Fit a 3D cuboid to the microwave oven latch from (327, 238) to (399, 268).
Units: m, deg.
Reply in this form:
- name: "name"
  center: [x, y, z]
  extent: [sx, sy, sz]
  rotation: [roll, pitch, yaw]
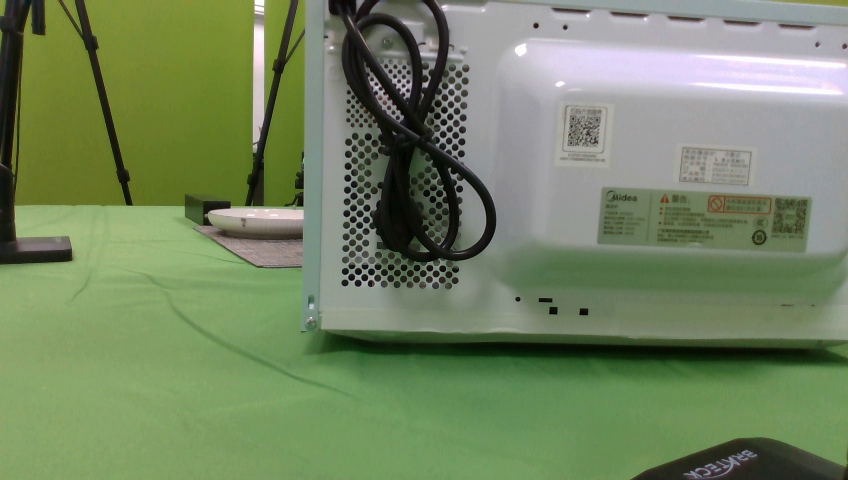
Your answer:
- name: "microwave oven latch"
  center: [-0.069, 0.015, 0.694]
  extent: [0.079, 0.029, 0.030]
  rotation: [3, 7, -3]

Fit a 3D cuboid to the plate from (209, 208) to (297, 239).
- name: "plate"
  center: [-0.271, -0.029, 1.074]
  extent: [0.208, 0.039, 0.207]
  rotation: [3, 7, 0]

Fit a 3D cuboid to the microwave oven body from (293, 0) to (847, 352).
- name: "microwave oven body"
  center: [0.122, -0.055, 0.550]
  extent: [0.442, 0.260, 0.325]
  rotation: [3, 7, -5]

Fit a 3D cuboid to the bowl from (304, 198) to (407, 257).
- name: "bowl"
  center: [-0.101, -0.019, 0.895]
  extent: [0.151, 0.077, 0.151]
  rotation: [2, 8, 0]

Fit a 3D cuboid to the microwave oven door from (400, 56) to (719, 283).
- name: "microwave oven door"
  center: [0.155, -0.077, 0.698]
  extent: [0.356, 0.243, 0.039]
  rotation: [2, 8, -5]
